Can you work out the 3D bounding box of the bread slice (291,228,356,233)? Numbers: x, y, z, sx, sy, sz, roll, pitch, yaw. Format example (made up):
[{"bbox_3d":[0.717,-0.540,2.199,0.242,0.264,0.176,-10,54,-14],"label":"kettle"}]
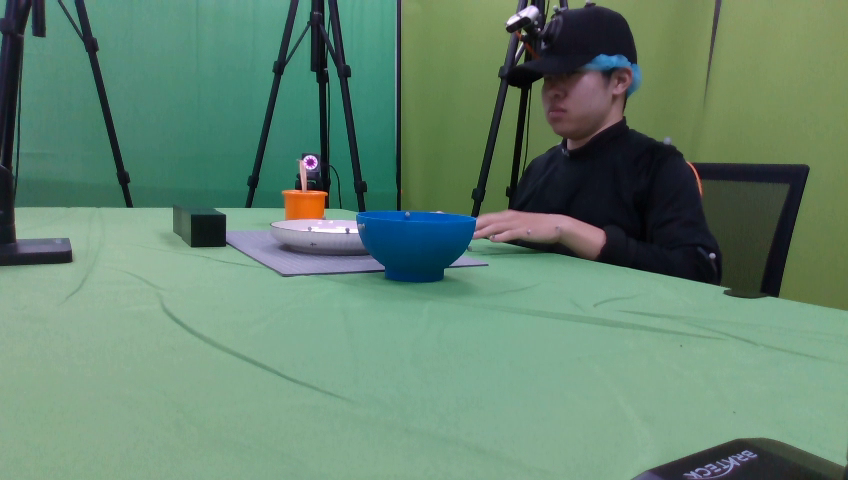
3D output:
[{"bbox_3d":[-0.143,-0.003,0.953,0.135,0.018,0.106,-1,9,-37],"label":"bread slice"}]

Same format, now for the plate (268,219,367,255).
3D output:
[{"bbox_3d":[-0.140,-0.006,0.958,0.209,0.038,0.209,3,7,0],"label":"plate"}]

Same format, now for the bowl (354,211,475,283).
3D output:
[{"bbox_3d":[-0.013,0.008,0.749,0.151,0.077,0.151,2,7,0],"label":"bowl"}]

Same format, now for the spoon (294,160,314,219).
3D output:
[{"bbox_3d":[-0.253,-0.102,1.270,0.042,0.193,0.021,3,-38,-17],"label":"spoon"}]
